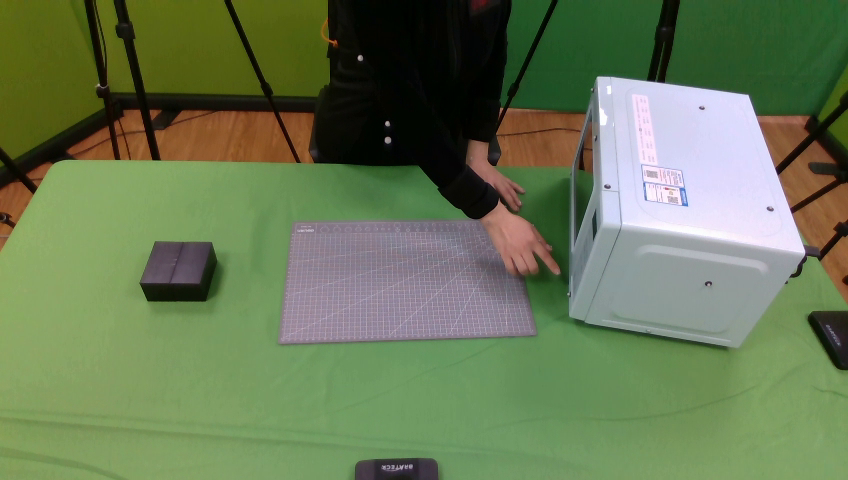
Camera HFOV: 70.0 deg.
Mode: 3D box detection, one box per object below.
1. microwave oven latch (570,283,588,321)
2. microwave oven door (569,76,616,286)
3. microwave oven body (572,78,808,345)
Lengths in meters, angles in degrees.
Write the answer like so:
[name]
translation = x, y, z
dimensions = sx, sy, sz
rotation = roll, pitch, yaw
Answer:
[microwave oven latch]
translation = 0.276, 0.106, 1.082
dimensions = 0.030, 0.029, 0.079
rotation = 10, 45, 7
[microwave oven door]
translation = 0.320, -0.119, 1.161
dimensions = 0.039, 0.245, 0.354
rotation = 9, 46, 5
[microwave oven body]
translation = 0.456, -0.063, 1.124
dimensions = 0.326, 0.261, 0.439
rotation = 8, 45, 5
